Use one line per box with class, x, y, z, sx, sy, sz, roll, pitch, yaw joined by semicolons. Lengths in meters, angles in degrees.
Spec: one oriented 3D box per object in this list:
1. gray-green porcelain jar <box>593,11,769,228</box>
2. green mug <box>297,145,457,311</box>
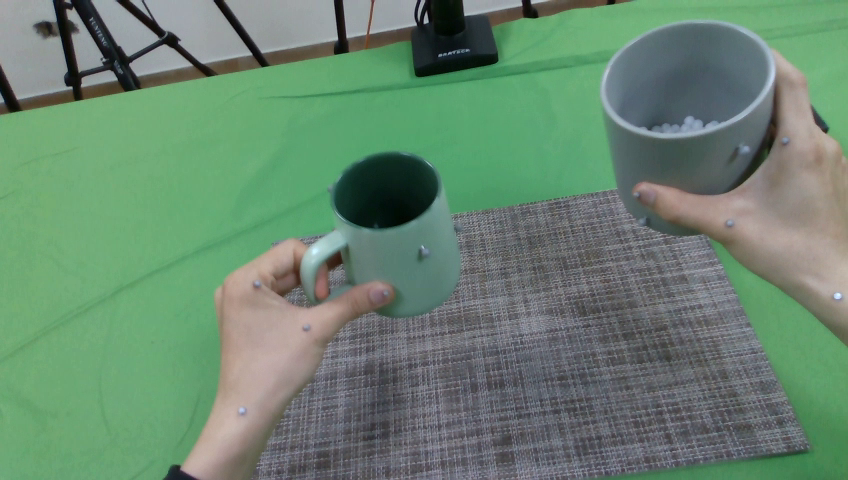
gray-green porcelain jar;0.183;-0.077;0.434;0.105;0.128;0.105;-12;55;17
green mug;-0.036;0.002;0.451;0.125;0.106;0.091;-34;55;-18
